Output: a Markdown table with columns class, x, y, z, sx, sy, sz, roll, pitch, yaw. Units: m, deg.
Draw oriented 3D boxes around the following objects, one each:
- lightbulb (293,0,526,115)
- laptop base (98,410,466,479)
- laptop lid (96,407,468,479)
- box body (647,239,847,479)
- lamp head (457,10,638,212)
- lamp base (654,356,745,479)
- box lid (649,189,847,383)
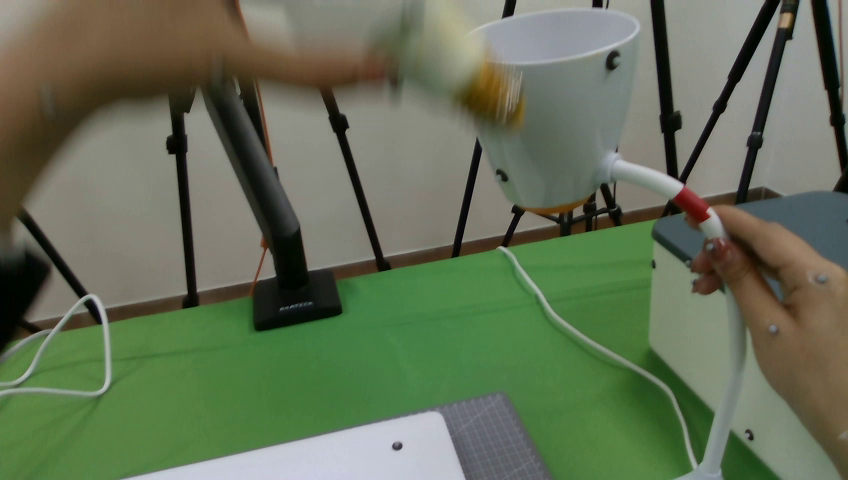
| class | x | y | z | sx | sy | sz | roll | pitch | yaw |
| --- | --- | --- | --- | --- | --- | --- | --- | --- | --- |
| lightbulb | -0.003 | -0.087 | 0.233 | 0.108 | 0.059 | 0.059 | 37 | 24 | -15 |
| laptop base | -0.127 | 0.263 | 0.506 | 0.355 | 0.023 | 0.233 | -9 | 31 | -10 |
| laptop lid | -0.127 | 0.253 | 0.499 | 0.357 | 0.013 | 0.239 | -9 | 30 | -9 |
| box body | 0.416 | 0.106 | 0.580 | 0.255 | 0.161 | 0.360 | -10 | 28 | -12 |
| lamp head | 0.087 | -0.081 | 0.404 | 0.112 | 0.124 | 0.111 | -11 | 29 | 7 |
| lamp base | 0.199 | 0.184 | 0.436 | 0.160 | 0.181 | 0.179 | 9 | 28 | 22 |
| box lid | 0.411 | 0.039 | 0.547 | 0.264 | 0.015 | 0.367 | -10 | 28 | -12 |
